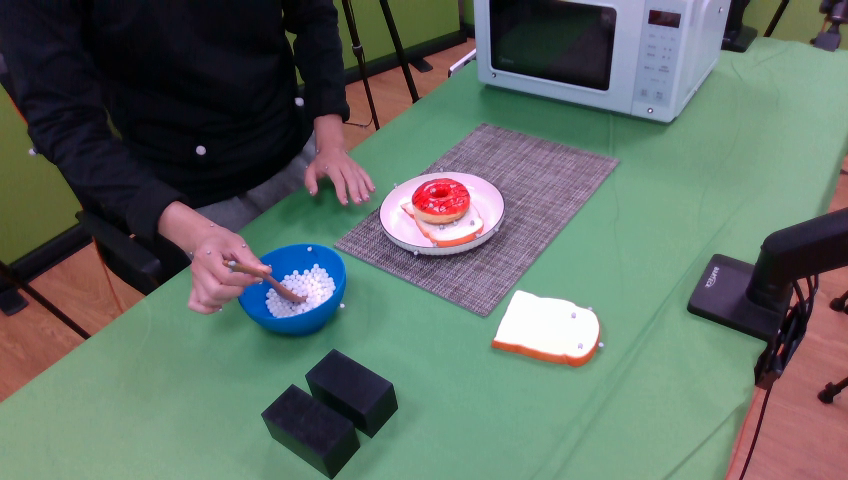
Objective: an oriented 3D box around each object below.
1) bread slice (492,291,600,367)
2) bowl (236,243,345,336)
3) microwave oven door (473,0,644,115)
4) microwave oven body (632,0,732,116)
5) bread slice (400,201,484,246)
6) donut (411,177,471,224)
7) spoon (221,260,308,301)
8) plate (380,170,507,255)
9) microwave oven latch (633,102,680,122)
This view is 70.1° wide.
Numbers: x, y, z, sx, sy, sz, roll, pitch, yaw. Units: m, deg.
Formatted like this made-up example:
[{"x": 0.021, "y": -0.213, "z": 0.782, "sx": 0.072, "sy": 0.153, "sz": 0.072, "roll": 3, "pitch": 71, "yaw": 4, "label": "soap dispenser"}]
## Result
[{"x": 0.169, "y": 0.118, "z": 0.811, "sx": 0.131, "sy": 0.019, "sz": 0.105, "roll": 11, "pitch": 44, "yaw": 21, "label": "bread slice"}, {"x": -0.180, "y": 0.082, "z": 0.855, "sx": 0.151, "sy": 0.077, "sz": 0.150, "roll": -4, "pitch": 41, "yaw": 4, "label": "bowl"}, {"x": 0.257, "y": -0.396, "z": 1.199, "sx": 0.353, "sy": 0.245, "sz": 0.039, "roll": 21, "pitch": 48, "yaw": 29, "label": "microwave oven door"}, {"x": 0.377, "y": -0.462, "z": 1.267, "sx": 0.438, "sy": 0.261, "sz": 0.327, "roll": 21, "pitch": 48, "yaw": 30, "label": "microwave oven body"}, {"x": 0.037, "y": -0.038, "z": 0.990, "sx": 0.107, "sy": 0.018, "sz": 0.133, "roll": -23, "pitch": 43, "yaw": -17, "label": "bread slice"}, {"x": 0.028, "y": -0.064, "z": 0.978, "sx": 0.099, "sy": 0.048, "sz": 0.098, "roll": -4, "pitch": 40, "yaw": 4, "label": "donut"}, {"x": -0.207, "y": 0.052, "z": 0.788, "sx": 0.041, "sy": 0.195, "sz": 0.021, "roll": 16, "pitch": 75, "yaw": 21, "label": "spoon"}, {"x": 0.033, "y": -0.042, "z": 0.995, "sx": 0.207, "sy": 0.039, "sz": 0.206, "roll": -4, "pitch": 40, "yaw": 4, "label": "plate"}, {"x": 0.444, "y": -0.249, "z": 1.157, "sx": 0.078, "sy": 0.029, "sz": 0.030, "roll": 21, "pitch": 49, "yaw": 30, "label": "microwave oven latch"}]
